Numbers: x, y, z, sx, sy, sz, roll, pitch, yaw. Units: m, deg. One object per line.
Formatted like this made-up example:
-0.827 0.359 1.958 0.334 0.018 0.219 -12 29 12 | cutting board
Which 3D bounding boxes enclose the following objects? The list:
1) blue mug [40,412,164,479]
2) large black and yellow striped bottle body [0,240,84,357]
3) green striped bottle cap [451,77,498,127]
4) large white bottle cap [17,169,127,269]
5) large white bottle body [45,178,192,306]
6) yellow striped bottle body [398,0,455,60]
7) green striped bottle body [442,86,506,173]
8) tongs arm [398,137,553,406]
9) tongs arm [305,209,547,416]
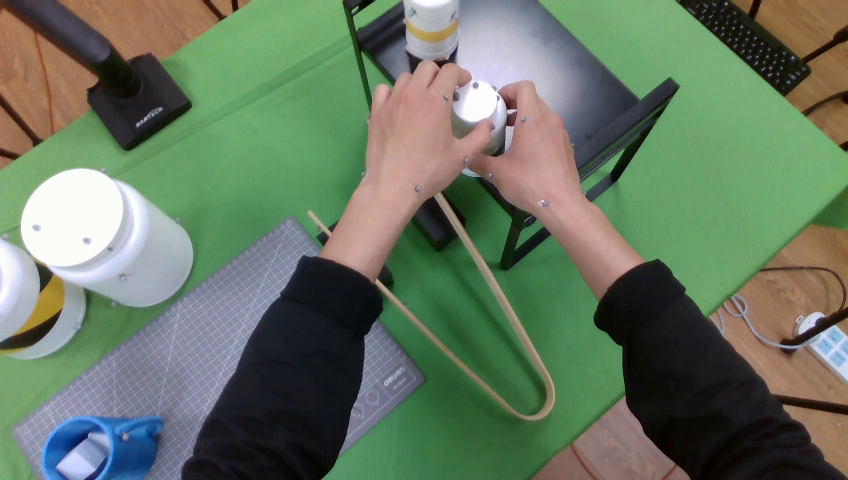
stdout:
-0.368 0.240 0.721 0.116 0.106 0.082 -32 74 -8 | blue mug
-0.526 0.068 0.737 0.131 0.185 0.130 0 73 2 | large black and yellow striped bottle body
0.047 -0.131 0.573 0.044 0.020 0.044 -1 79 7 | green striped bottle cap
-0.391 -0.025 0.673 0.115 0.018 0.114 0 73 1 | large white bottle cap
-0.387 0.001 0.754 0.130 0.185 0.130 0 72 1 | large white bottle body
0.003 -0.258 0.666 0.063 0.121 0.062 0 73 2 | yellow striped bottle body
0.052 -0.118 0.623 0.063 0.120 0.063 -1 75 6 | green striped bottle body
0.065 0.036 0.775 0.028 0.028 0.387 -30 86 -16 | tongs arm
0.002 0.086 0.760 0.050 0.026 0.384 -44 89 -13 | tongs arm
